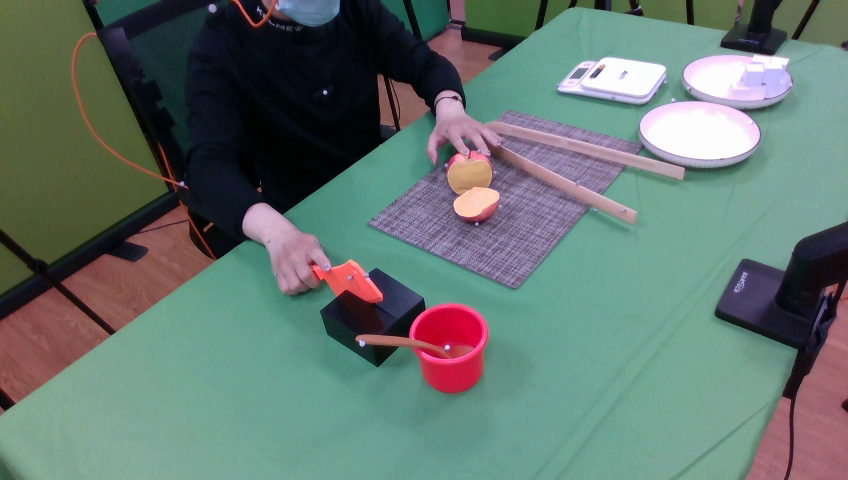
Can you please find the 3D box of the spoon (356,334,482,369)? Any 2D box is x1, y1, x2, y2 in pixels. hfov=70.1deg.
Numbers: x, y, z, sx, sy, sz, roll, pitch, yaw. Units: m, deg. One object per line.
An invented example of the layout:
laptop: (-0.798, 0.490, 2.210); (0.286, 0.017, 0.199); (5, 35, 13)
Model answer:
spoon: (-0.001, 0.130, 0.731); (0.195, 0.021, 0.041); (21, 28, -39)

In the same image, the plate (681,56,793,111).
plate: (0.636, -0.317, 1.239); (0.207, 0.039, 0.206); (-4, 40, 4)

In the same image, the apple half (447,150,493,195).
apple half: (0.081, -0.123, 1.065); (0.081, 0.075, 0.053); (-7, 37, 6)

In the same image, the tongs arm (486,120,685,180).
tongs arm: (0.287, -0.171, 1.123); (0.384, 0.028, 0.028); (21, 52, 29)

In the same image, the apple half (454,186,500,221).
apple half: (0.091, -0.056, 1.015); (0.081, 0.033, 0.081); (-16, 36, 13)

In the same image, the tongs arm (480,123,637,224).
tongs arm: (0.227, -0.128, 1.080); (0.051, 0.026, 0.381); (-33, 46, -26)

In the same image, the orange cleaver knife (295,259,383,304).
orange cleaver knife: (-0.126, 0.060, 0.869); (0.012, 0.077, 0.210); (-41, 22, -29)

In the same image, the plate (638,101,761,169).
plate: (0.500, -0.189, 1.111); (0.209, 0.038, 0.208); (-4, 41, 4)

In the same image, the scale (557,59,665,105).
scale: (0.406, -0.348, 1.314); (0.199, 0.032, 0.149); (19, 47, 28)
